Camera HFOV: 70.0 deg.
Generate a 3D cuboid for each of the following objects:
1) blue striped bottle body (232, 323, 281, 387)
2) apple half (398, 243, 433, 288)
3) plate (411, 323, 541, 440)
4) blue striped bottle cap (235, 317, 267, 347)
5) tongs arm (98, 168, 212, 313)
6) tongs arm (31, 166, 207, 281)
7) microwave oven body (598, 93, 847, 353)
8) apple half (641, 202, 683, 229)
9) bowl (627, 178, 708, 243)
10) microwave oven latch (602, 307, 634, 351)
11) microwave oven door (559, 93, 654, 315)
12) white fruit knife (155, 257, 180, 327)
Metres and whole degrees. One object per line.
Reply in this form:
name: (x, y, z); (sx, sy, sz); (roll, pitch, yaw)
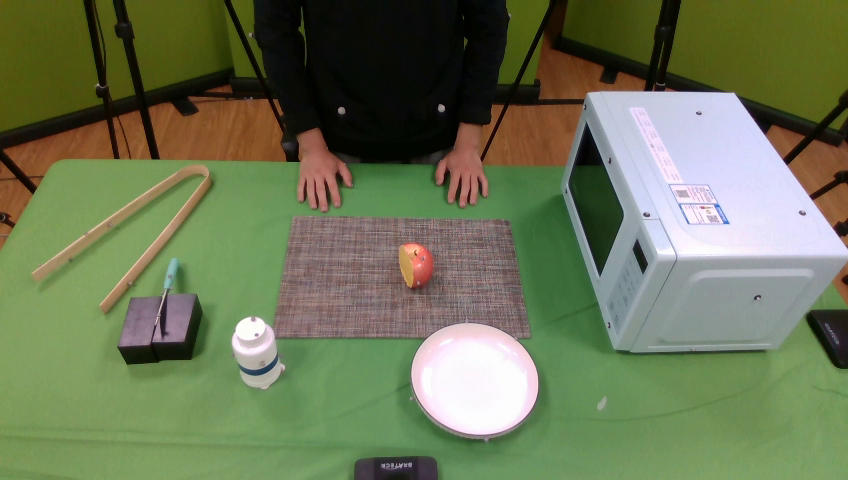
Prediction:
blue striped bottle body: (-0.262, 0.172, 0.944); (0.063, 0.121, 0.062); (2, 46, -2)
apple half: (-0.012, 0.047, 1.115); (0.053, 0.075, 0.080); (-11, 43, -20)
plate: (0.082, 0.228, 0.976); (0.208, 0.039, 0.206); (2, 45, -2)
blue striped bottle cap: (-0.259, 0.137, 0.907); (0.044, 0.021, 0.044); (3, 43, -2)
tongs arm: (-0.504, -0.012, 1.167); (0.028, 0.028, 0.385); (11, 46, 11)
tongs arm: (-0.578, -0.040, 1.184); (0.050, 0.026, 0.384); (23, 48, 17)
microwave oven body: (0.475, -0.041, 1.109); (0.326, 0.261, 0.438); (-1, 45, -4)
apple half: (0.457, -0.054, 1.160); (0.081, 0.033, 0.081); (-2, 32, 2)
bowl: (0.456, -0.047, 1.168); (0.151, 0.077, 0.150); (7, 36, -5)
microwave oven latch: (0.332, 0.153, 1.044); (0.030, 0.029, 0.078); (-1, 45, -4)
microwave oven door: (0.327, -0.074, 1.123); (0.039, 0.245, 0.353); (-1, 46, -5)
white fruit knife: (-0.440, 0.085, 1.037); (0.016, 0.027, 0.206); (10, 26, -19)
